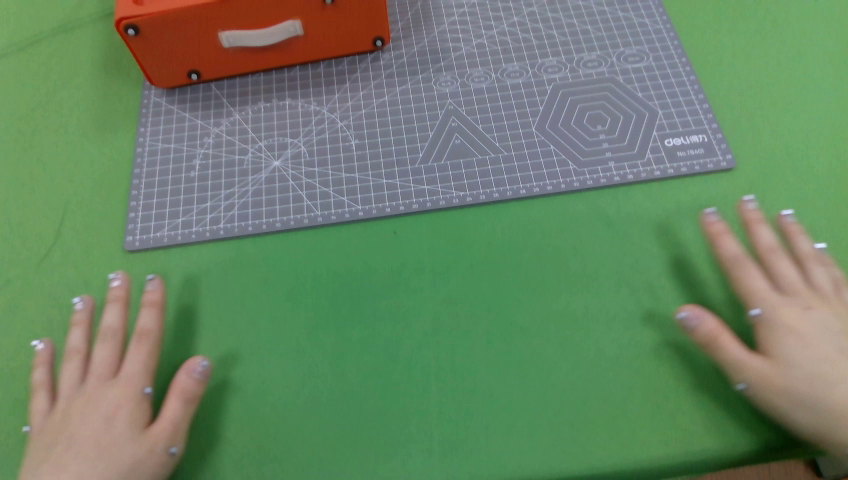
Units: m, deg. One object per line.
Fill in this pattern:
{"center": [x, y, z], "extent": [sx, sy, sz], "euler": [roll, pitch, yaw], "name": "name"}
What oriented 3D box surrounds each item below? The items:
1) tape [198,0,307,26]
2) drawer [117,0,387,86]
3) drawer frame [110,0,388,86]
{"center": [-0.151, -0.246, 0.526], "extent": [0.117, 0.053, 0.116], "euler": [-1, 62, 2], "name": "tape"}
{"center": [-0.147, -0.245, 0.517], "extent": [0.194, 0.074, 0.209], "euler": [-12, 62, -3], "name": "drawer"}
{"center": [-0.149, -0.248, 0.518], "extent": [0.202, 0.083, 0.211], "euler": [-12, 61, -4], "name": "drawer frame"}
